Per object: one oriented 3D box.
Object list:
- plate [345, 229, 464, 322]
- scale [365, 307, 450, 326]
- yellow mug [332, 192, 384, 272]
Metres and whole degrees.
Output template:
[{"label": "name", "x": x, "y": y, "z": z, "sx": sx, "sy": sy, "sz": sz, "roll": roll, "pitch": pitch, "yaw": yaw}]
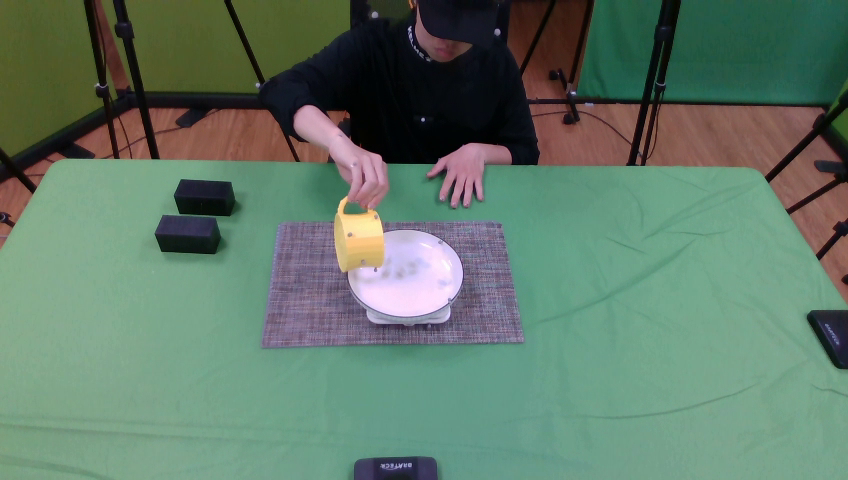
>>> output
[{"label": "plate", "x": -0.034, "y": 0.065, "z": 1.073, "sx": 0.209, "sy": 0.038, "sz": 0.208, "roll": 2, "pitch": 46, "yaw": -2}, {"label": "scale", "x": -0.032, "y": 0.071, "z": 1.113, "sx": 0.149, "sy": 0.032, "sz": 0.199, "roll": 0, "pitch": 46, "yaw": -4}, {"label": "yellow mug", "x": -0.112, "y": -0.015, "z": 1.012, "sx": 0.064, "sy": 0.131, "sz": 0.099, "roll": -7, "pitch": 10, "yaw": -19}]
